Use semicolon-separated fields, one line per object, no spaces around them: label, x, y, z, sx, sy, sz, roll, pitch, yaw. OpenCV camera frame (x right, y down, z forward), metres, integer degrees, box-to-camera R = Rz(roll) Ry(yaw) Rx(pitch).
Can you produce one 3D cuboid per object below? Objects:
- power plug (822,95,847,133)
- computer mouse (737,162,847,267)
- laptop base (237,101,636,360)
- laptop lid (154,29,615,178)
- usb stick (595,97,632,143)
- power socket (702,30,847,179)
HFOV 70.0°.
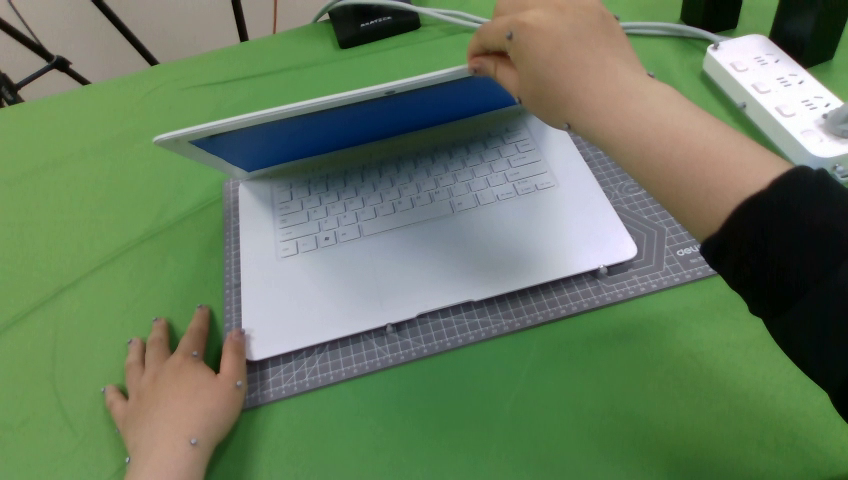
power plug;0.407;-0.115;0.556;0.072;0.053;0.035;-5;51;5
computer mouse;0.330;-0.029;0.520;0.063;0.041;0.116;-21;45;-4
laptop base;-0.007;-0.022;0.595;0.354;0.023;0.233;-15;51;-2
laptop lid;-0.031;-0.113;0.550;0.357;0.241;0.013;-15;91;-1
usb stick;0.198;-0.132;0.642;0.021;0.027;0.058;-16;48;0
power socket;0.367;-0.147;0.620;0.072;0.033;0.224;-15;47;-1
